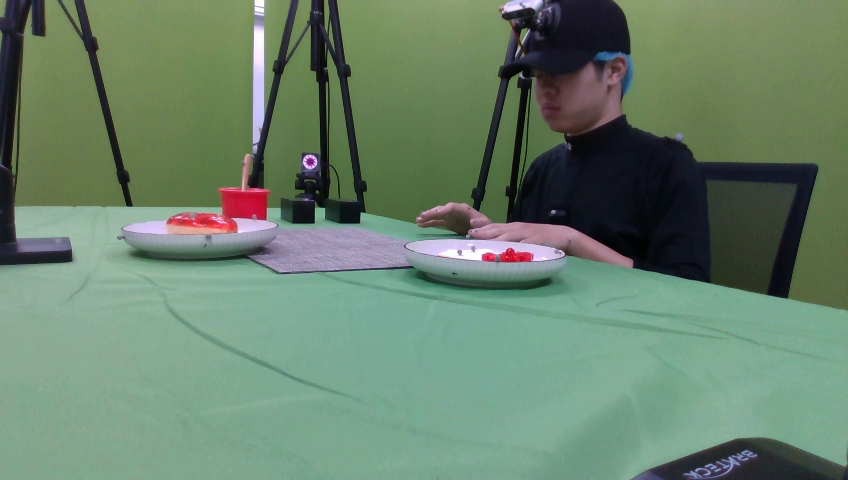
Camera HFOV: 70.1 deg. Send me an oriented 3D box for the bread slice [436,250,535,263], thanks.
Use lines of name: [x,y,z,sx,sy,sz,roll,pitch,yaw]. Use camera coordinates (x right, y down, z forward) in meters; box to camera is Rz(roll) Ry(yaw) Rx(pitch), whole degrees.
bread slice: [0.078,0.031,0.774,0.105,0.019,0.131,-4,11,-45]

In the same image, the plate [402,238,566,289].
plate: [0.074,0.029,0.772,0.209,0.038,0.209,3,7,0]

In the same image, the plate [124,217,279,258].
plate: [-0.315,-0.004,0.871,0.208,0.039,0.207,1,8,0]

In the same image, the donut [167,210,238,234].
donut: [-0.321,-0.017,0.882,0.099,0.048,0.099,3,6,0]

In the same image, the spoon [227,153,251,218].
spoon: [-0.363,-0.107,1.211,0.042,0.021,0.193,-1,47,-7]
